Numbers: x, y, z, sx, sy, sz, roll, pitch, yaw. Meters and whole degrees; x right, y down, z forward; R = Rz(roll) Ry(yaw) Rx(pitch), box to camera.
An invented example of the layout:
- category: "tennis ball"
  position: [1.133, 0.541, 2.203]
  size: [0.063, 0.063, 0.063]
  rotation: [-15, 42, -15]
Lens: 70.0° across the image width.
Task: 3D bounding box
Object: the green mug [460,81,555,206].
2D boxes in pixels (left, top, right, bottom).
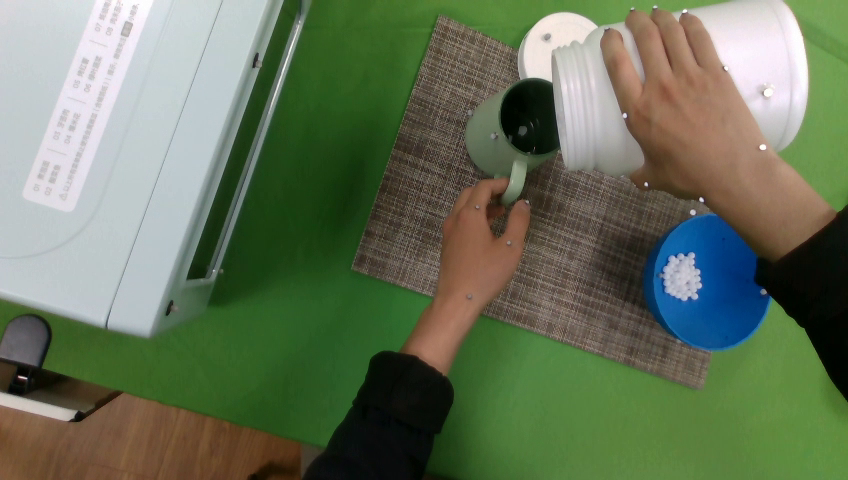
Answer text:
- category: "green mug"
  position: [0.090, -0.097, 0.639]
  size: [0.093, 0.104, 0.125]
  rotation: [11, 85, -13]

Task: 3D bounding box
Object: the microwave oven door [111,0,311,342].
- category: "microwave oven door"
  position: [-0.156, -0.102, 0.497]
  size: [0.039, 0.243, 0.355]
  rotation: [18, 83, -11]

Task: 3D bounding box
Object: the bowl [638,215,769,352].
- category: "bowl"
  position: [0.304, 0.049, 0.697]
  size: [0.152, 0.076, 0.151]
  rotation: [1, 87, -13]

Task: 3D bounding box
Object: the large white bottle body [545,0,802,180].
- category: "large white bottle body"
  position: [0.205, -0.124, 0.527]
  size: [0.184, 0.131, 0.130]
  rotation: [-8, 89, 9]

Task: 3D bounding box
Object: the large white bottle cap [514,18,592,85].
- category: "large white bottle cap"
  position: [0.161, -0.200, 0.703]
  size: [0.115, 0.018, 0.114]
  rotation: [2, 83, -14]

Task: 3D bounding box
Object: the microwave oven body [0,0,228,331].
- category: "microwave oven body"
  position: [-0.281, -0.187, 0.475]
  size: [0.327, 0.259, 0.440]
  rotation: [19, 84, -12]
